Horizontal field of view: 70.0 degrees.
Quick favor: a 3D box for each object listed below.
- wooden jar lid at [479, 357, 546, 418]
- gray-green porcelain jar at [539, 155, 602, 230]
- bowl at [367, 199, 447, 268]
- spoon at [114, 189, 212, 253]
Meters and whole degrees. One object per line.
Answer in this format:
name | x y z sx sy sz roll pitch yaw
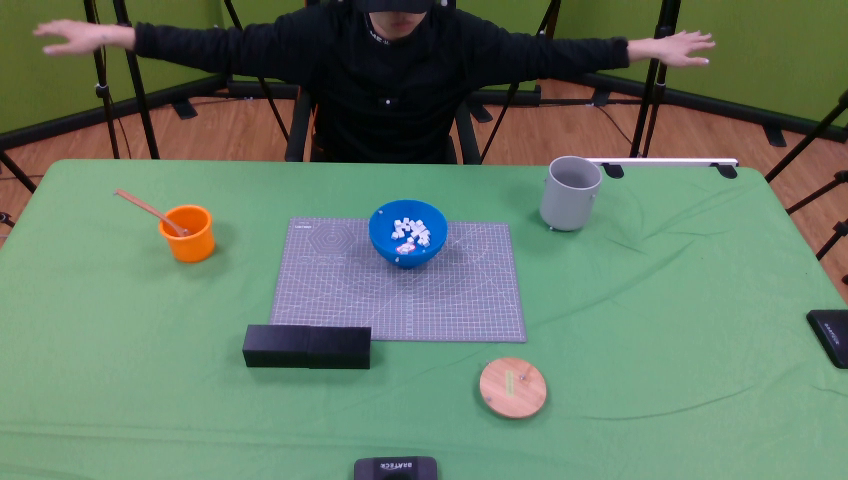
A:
wooden jar lid | 0.142 0.240 0.979 0.108 0.021 0.107 1 46 -1
gray-green porcelain jar | 0.294 -0.091 1.235 0.106 0.127 0.105 2 46 -2
bowl | -0.033 0.000 1.152 0.151 0.077 0.150 2 46 -2
spoon | -0.475 -0.037 1.109 0.021 0.195 0.041 -29 34 31
